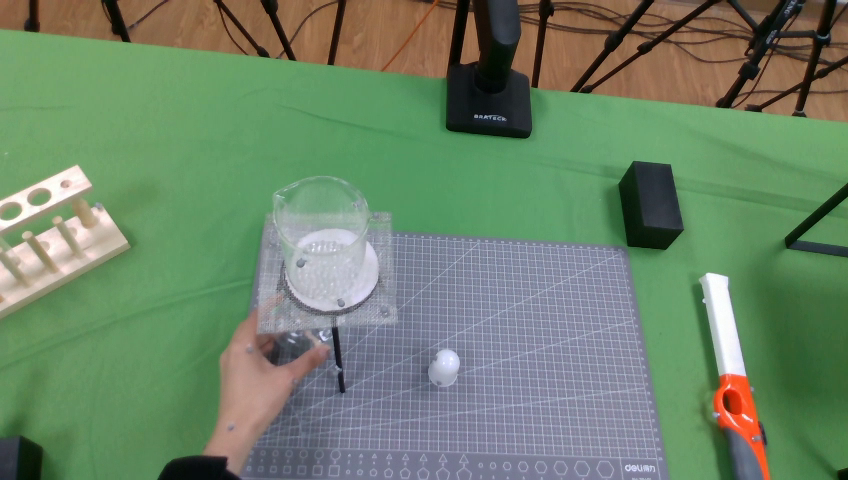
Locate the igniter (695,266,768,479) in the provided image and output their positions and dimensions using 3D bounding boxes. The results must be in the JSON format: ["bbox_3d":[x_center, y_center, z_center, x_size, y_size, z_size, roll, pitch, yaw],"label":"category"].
[{"bbox_3d":[0.342,0.155,0.677,0.057,0.025,0.274,11,59,-13],"label":"igniter"}]

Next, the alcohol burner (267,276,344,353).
[{"bbox_3d":[-0.120,0.069,0.614,0.078,0.120,0.077,4,58,-7],"label":"alcohol burner"}]

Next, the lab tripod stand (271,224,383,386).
[{"bbox_3d":[-0.093,0.059,0.612,0.149,0.132,0.147,4,60,-7],"label":"lab tripod stand"}]

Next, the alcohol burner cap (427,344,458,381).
[{"bbox_3d":[0.021,0.128,0.640,0.034,0.048,0.033,2,62,-3],"label":"alcohol burner cap"}]

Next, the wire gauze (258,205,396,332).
[{"bbox_3d":[-0.089,0.022,0.558,0.122,0.011,0.124,-2,64,-7],"label":"wire gauze"}]

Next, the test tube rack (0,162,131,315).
[{"bbox_3d":[-0.443,0.023,0.618,0.242,0.086,0.066,-34,69,-23],"label":"test tube rack"}]

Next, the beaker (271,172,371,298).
[{"bbox_3d":[-0.088,-0.001,0.514,0.084,0.101,0.073,26,60,8],"label":"beaker"}]

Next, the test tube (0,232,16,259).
[{"bbox_3d":[-0.435,-0.024,0.589,0.017,0.151,0.017,4,55,-5],"label":"test tube"}]
